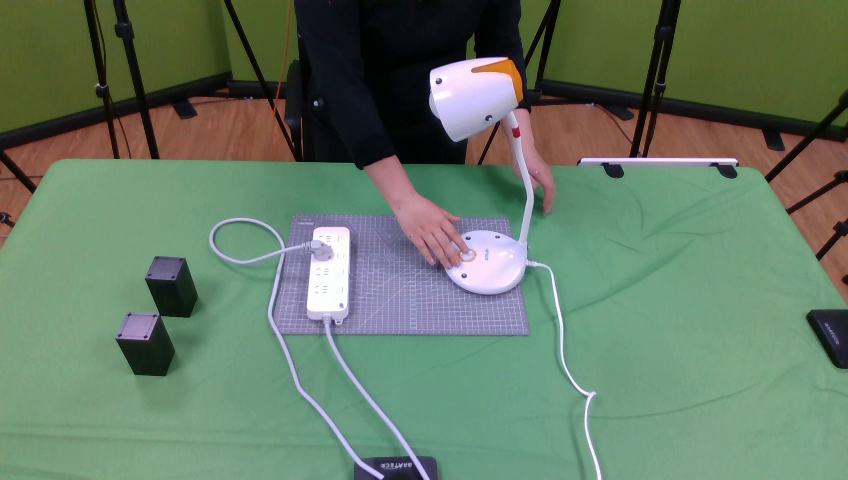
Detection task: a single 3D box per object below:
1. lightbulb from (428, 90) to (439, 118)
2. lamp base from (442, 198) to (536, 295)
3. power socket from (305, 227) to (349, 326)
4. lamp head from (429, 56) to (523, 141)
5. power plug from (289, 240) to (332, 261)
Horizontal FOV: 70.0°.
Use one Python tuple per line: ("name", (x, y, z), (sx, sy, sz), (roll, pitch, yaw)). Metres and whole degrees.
("lightbulb", (0.057, -0.213, 0.889), (0.107, 0.060, 0.059), (-12, 41, 22))
("lamp base", (0.132, -0.013, 1.106), (0.179, 0.181, 0.159), (0, 46, -8))
("power socket", (-0.177, 0.058, 1.115), (0.072, 0.033, 0.225), (-1, 46, -4))
("lamp head", (0.082, -0.212, 0.882), (0.123, 0.113, 0.111), (-13, 44, 14))
("power plug", (-0.208, 0.022, 1.123), (0.072, 0.053, 0.035), (5, 44, 5))
